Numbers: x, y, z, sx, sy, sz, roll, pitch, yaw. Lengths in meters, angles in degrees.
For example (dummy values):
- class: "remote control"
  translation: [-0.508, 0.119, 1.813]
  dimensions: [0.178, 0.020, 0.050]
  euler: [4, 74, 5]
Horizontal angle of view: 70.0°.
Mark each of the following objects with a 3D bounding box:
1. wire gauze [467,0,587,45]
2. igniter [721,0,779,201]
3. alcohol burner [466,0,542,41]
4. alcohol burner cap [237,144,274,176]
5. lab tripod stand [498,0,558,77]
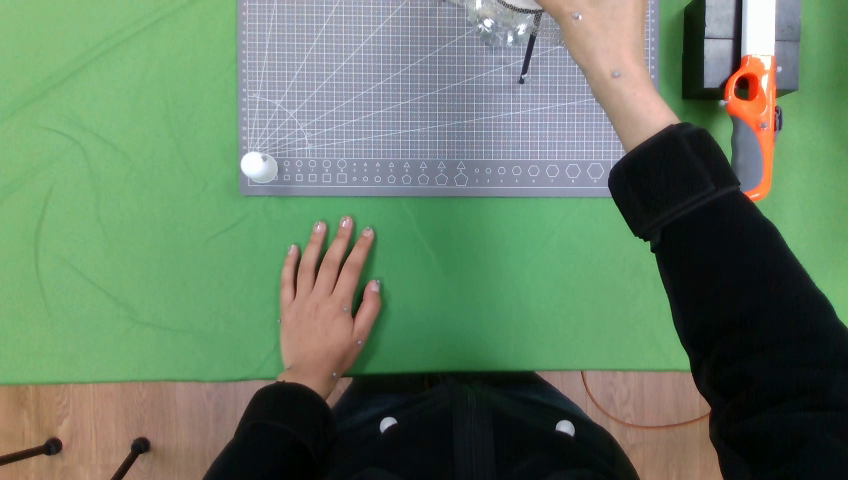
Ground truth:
- class: "wire gauze"
  translation: [0.093, -0.245, 0.521]
  dimensions: [0.122, 0.011, 0.125]
  euler: [22, 87, -8]
- class: "igniter"
  translation: [0.328, -0.176, 0.605]
  dimensions: [0.057, 0.025, 0.276]
  euler: [3, 90, 0]
- class: "alcohol burner"
  translation: [0.081, -0.239, 0.593]
  dimensions: [0.078, 0.119, 0.078]
  euler: [0, 93, -1]
- class: "alcohol burner cap"
  translation: [-0.175, -0.084, 0.622]
  dimensions: [0.034, 0.048, 0.034]
  euler: [0, 91, -3]
- class: "lab tripod stand"
  translation: [0.089, -0.248, 0.583]
  dimensions: [0.148, 0.131, 0.148]
  euler: [0, 89, -2]
